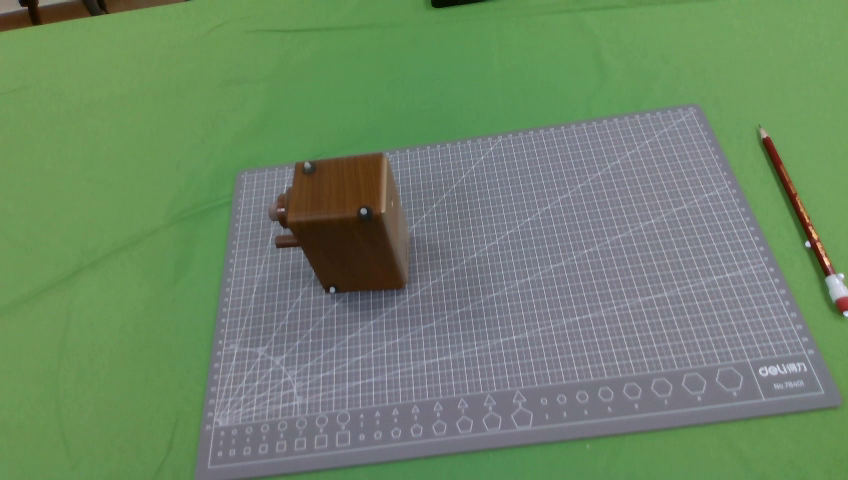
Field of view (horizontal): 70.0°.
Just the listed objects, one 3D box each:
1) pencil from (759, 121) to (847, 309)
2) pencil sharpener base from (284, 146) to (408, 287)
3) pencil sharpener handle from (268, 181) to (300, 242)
[{"bbox_3d":[0.306,-0.030,0.494,0.012,0.012,0.192,-5,54,6],"label":"pencil"},{"bbox_3d":[-0.058,-0.014,0.474,0.076,0.108,0.061,-5,55,6],"label":"pencil sharpener base"},{"bbox_3d":[-0.110,-0.017,0.469,0.030,0.068,0.035,-5,60,6],"label":"pencil sharpener handle"}]
